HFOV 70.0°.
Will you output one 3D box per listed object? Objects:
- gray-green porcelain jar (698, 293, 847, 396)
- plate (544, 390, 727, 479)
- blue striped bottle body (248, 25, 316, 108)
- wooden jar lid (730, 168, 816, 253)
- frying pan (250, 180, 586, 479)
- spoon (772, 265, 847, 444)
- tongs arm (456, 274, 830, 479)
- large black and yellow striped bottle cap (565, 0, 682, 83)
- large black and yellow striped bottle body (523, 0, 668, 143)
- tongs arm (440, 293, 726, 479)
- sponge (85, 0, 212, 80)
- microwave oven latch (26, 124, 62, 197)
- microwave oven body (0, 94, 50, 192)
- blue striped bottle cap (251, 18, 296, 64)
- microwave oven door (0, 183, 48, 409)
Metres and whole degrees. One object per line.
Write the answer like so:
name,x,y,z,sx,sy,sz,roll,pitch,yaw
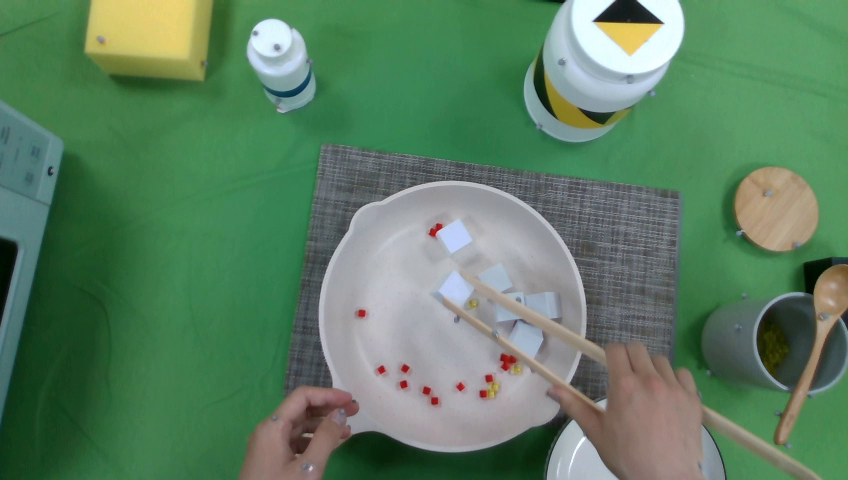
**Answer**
gray-green porcelain jar,0.380,0.116,0.678,0.106,0.127,0.105,1,81,-3
plate,0.235,0.274,0.687,0.208,0.039,0.207,1,83,-4
blue striped bottle body,-0.162,-0.202,0.691,0.063,0.121,0.063,1,81,-3
wooden jar lid,0.434,-0.037,0.758,0.108,0.021,0.108,0,83,-3
frying pan,-0.046,0.146,0.652,0.487,0.103,0.306,-40,85,-17
spoon,0.387,0.116,0.608,0.041,0.021,0.193,24,84,-3
tongs arm,0.186,0.126,0.574,0.384,0.028,0.028,29,59,27
large black and yellow striped bottle cap,0.199,-0.214,0.601,0.115,0.019,0.114,0,83,-3
large black and yellow striped bottle body,0.193,-0.199,0.684,0.131,0.184,0.130,1,81,-4
tongs arm,0.172,0.141,0.565,0.381,0.027,0.050,34,64,30
sponge,-0.322,-0.305,0.726,0.118,0.061,0.206,3,82,-4
microwave oven latch,-0.432,-0.091,0.680,0.030,0.029,0.079,11,81,-2
microwave oven body,-0.597,0.046,0.551,0.326,0.260,0.440,8,81,-3
blue striped bottle cap,-0.160,-0.211,0.641,0.044,0.020,0.044,1,83,-4
microwave oven door,-0.459,0.107,0.546,0.039,0.244,0.354,8,81,-2
